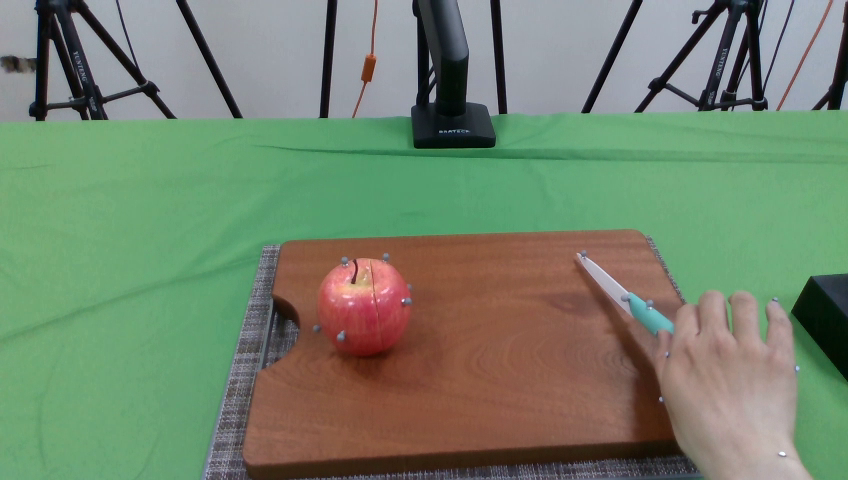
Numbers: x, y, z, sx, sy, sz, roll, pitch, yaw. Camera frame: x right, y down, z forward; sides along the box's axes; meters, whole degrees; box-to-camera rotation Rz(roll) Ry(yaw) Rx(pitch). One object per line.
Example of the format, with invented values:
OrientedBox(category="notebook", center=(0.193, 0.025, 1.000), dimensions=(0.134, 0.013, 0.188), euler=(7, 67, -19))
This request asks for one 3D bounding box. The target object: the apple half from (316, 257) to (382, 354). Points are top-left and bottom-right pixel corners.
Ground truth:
OrientedBox(category="apple half", center=(-0.066, 0.059, 0.525), dimensions=(0.053, 0.075, 0.080), euler=(-9, 44, -5))

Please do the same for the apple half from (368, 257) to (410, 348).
OrientedBox(category="apple half", center=(-0.028, 0.054, 0.530), dimensions=(0.033, 0.082, 0.080), euler=(-9, 40, -6))

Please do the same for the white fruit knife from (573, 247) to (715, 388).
OrientedBox(category="white fruit knife", center=(0.191, 0.058, 0.556), dimensions=(0.016, 0.027, 0.205), euler=(-13, 32, -15))
